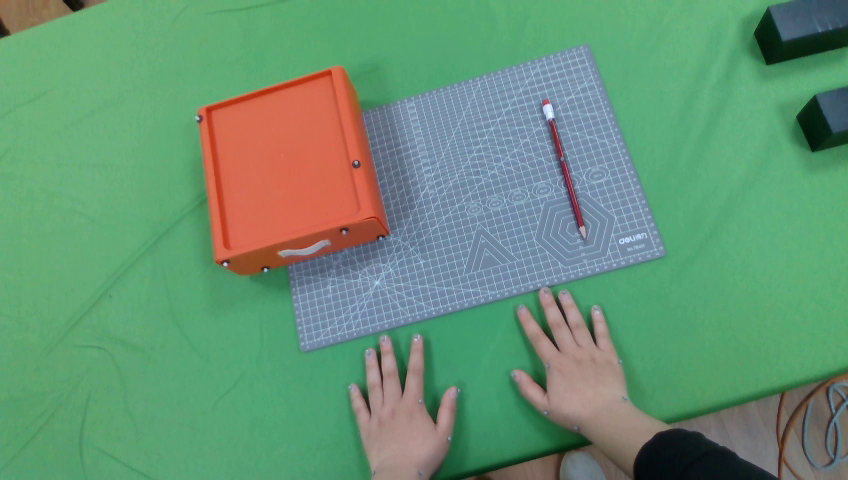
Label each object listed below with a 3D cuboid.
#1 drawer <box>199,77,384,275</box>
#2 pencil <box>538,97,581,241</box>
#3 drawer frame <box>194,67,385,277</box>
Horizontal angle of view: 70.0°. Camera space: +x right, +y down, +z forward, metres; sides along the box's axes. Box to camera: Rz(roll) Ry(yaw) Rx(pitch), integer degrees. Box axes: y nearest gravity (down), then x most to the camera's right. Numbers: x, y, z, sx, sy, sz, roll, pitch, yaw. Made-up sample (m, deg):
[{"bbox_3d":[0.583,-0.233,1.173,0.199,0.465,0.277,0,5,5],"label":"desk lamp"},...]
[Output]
[{"bbox_3d":[-0.169,-0.080,0.763,0.194,0.074,0.210,-16,70,5],"label":"drawer"},{"bbox_3d":[0.169,-0.090,0.750,0.012,0.012,0.193,-13,74,5],"label":"pencil"},{"bbox_3d":[-0.171,-0.082,0.763,0.201,0.083,0.212,-17,71,5],"label":"drawer frame"}]
